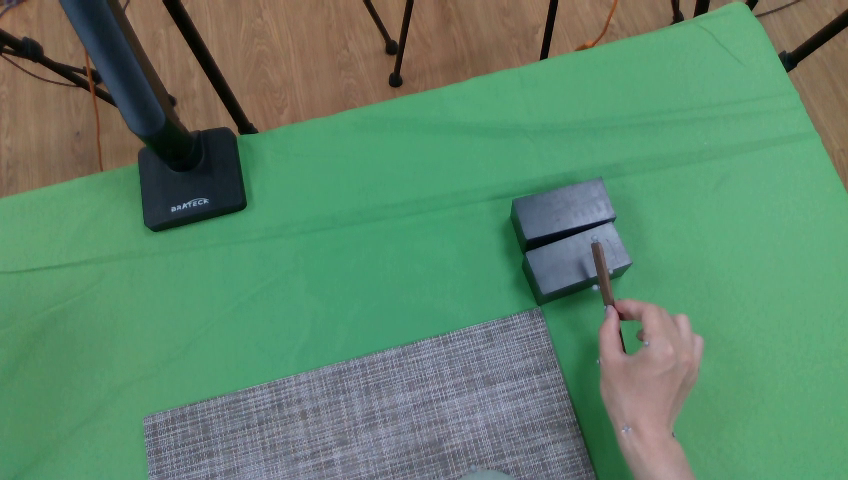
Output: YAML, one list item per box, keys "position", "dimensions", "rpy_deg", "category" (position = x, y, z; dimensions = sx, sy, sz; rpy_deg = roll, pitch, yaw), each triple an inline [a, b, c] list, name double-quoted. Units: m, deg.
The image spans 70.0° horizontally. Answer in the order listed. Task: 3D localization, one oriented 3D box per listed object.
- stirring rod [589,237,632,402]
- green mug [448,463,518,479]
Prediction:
- position: [0.188, 0.082, 0.611]
  dimensions: [0.006, 0.014, 0.176]
  rpy_deg: [-17, 99, -21]
  category: "stirring rod"
- position: [0.065, 0.268, 0.552]
  dimensions: [0.092, 0.105, 0.124]
  rpy_deg: [-31, 72, -7]
  category: "green mug"
